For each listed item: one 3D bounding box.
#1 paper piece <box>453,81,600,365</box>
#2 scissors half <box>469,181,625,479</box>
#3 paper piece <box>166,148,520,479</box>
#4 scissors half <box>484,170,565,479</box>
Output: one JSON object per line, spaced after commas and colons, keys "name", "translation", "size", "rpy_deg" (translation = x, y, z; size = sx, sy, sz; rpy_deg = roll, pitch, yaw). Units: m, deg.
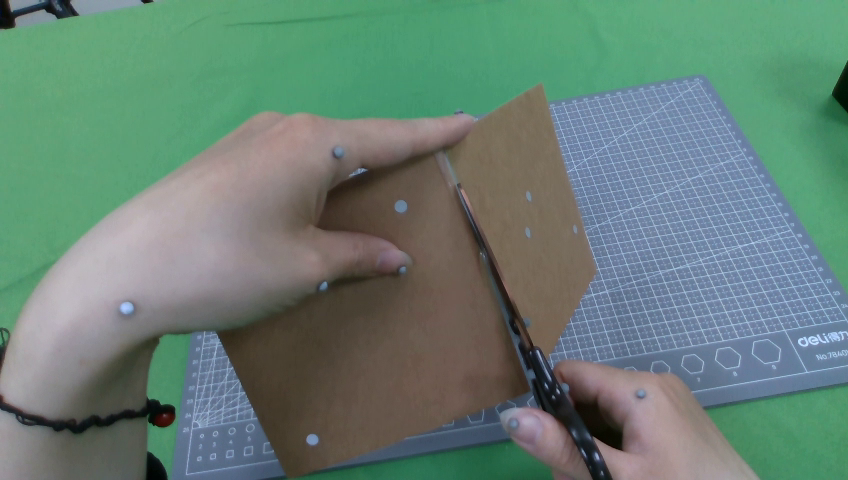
{"name": "paper piece", "translation": [0.068, -0.014, 0.347], "size": [0.004, 0.136, 0.135], "rpy_deg": [-12, 17, 33]}
{"name": "scissors half", "translation": [0.054, 0.049, 0.283], "size": [0.013, 0.040, 0.174], "rpy_deg": [-15, 74, -23]}
{"name": "paper piece", "translation": [-0.033, 0.041, 0.297], "size": [0.138, 0.136, 0.008], "rpy_deg": [-20, 11, 2]}
{"name": "scissors half", "translation": [0.047, 0.051, 0.304], "size": [0.013, 0.176, 0.039], "rpy_deg": [-16, 15, -18]}
